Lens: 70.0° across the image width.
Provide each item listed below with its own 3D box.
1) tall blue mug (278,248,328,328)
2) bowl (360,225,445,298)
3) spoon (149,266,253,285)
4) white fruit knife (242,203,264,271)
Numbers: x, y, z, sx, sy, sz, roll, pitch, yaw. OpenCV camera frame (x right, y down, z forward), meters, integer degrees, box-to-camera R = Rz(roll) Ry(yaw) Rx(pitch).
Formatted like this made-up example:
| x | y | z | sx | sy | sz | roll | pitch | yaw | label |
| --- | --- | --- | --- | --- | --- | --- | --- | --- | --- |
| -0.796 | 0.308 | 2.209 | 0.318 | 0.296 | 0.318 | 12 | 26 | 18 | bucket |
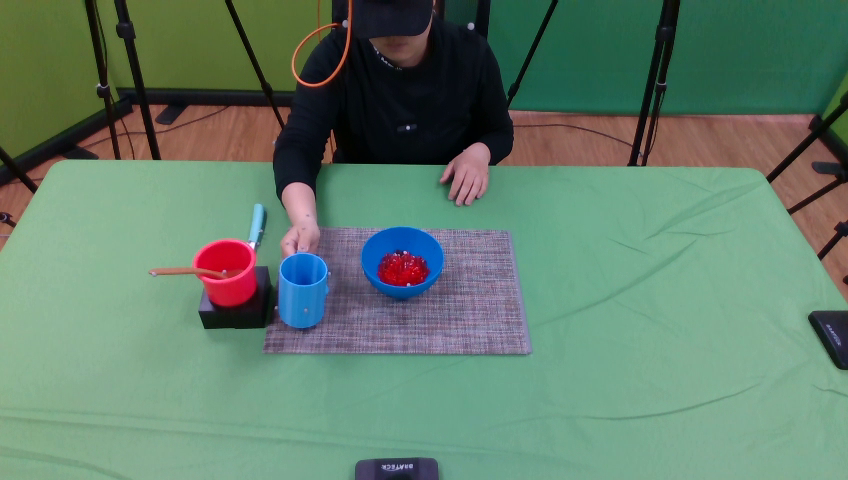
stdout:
| x | y | z | sx | sy | sz | roll | pitch | yaw | label |
| --- | --- | --- | --- | --- | --- | --- | --- | --- | --- |
| -0.214 | 0.074 | 1.022 | 0.078 | 0.108 | 0.106 | -24 | 54 | -33 | tall blue mug |
| -0.040 | 0.053 | 1.099 | 0.151 | 0.077 | 0.150 | 2 | 46 | -2 | bowl |
| -0.351 | 0.052 | 0.968 | 0.041 | 0.021 | 0.194 | 41 | 13 | 28 | spoon |
| -0.334 | 0.001 | 1.178 | 0.027 | 0.016 | 0.206 | -18 | 46 | 16 | white fruit knife |
